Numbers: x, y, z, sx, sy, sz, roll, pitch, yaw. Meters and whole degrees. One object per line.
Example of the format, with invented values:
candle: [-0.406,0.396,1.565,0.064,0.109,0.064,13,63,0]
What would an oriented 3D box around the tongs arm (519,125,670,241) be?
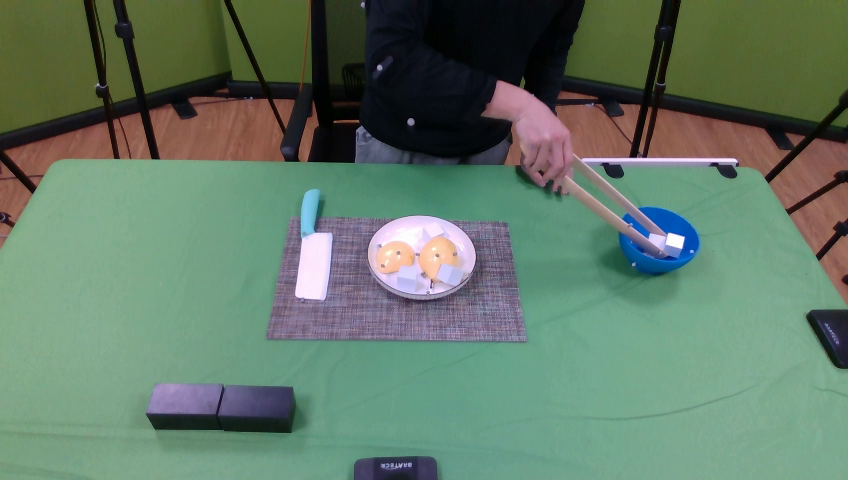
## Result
tongs arm: [0.326,-0.100,1.125,0.389,0.028,0.028,34,65,-22]

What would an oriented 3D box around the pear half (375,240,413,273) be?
pear half: [-0.059,0.026,1.145,0.070,0.031,0.088,22,43,21]

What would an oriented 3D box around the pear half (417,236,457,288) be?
pear half: [0.022,0.039,1.127,0.076,0.056,0.109,6,50,7]

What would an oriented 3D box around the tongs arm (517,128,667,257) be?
tongs arm: [0.317,-0.078,1.113,0.386,0.026,0.050,30,62,-23]

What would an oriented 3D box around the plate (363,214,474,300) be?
plate: [-0.010,0.036,1.146,0.208,0.039,0.206,3,46,-2]

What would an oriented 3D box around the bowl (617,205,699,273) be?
bowl: [0.445,0.011,1.182,0.151,0.077,0.150,2,46,-2]

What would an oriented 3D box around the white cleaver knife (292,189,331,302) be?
white cleaver knife: [-0.215,0.006,1.178,0.066,0.021,0.284,5,49,-12]
